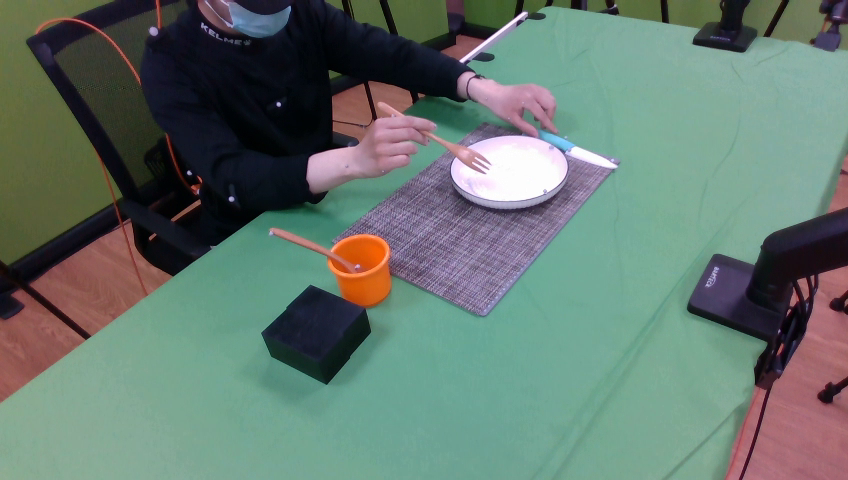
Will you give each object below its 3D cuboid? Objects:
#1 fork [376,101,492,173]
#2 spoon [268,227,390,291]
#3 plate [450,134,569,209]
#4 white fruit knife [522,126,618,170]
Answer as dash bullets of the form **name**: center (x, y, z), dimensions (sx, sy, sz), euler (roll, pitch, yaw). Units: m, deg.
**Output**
- **fork**: center (0.016, -0.165, 0.956), dimensions (0.207, 0.028, 0.018), euler (29, 5, -1)
- **spoon**: center (-0.132, 0.025, 0.862), dimensions (0.021, 0.195, 0.041), euler (-41, 31, 32)
- **plate**: center (0.149, -0.117, 1.066), dimensions (0.209, 0.038, 0.208), euler (-3, 41, 3)
- **white fruit knife**: center (0.273, -0.172, 1.132), dimensions (0.205, 0.016, 0.027), euler (32, 83, 34)
